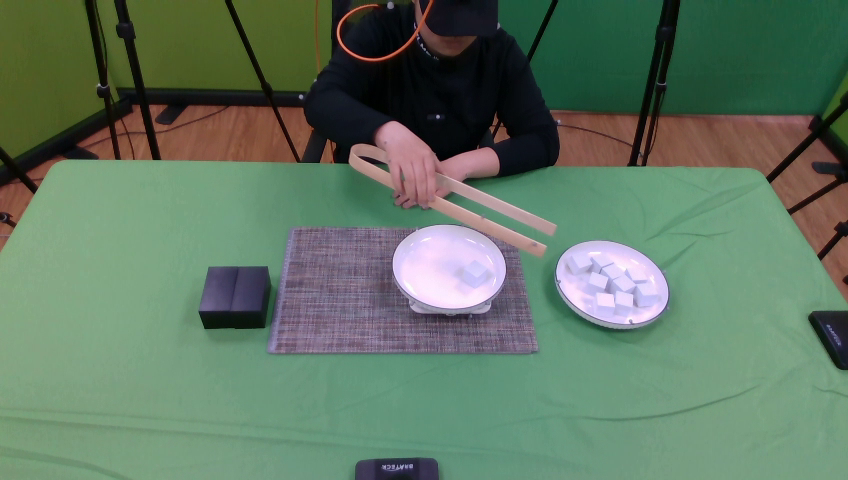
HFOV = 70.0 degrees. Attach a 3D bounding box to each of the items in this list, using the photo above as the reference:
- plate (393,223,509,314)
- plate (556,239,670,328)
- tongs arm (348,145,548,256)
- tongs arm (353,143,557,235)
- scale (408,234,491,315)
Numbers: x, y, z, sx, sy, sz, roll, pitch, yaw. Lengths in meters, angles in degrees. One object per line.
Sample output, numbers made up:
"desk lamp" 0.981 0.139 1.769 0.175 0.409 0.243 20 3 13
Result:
"plate" 0.048 0.053 1.091 0.208 0.039 0.206 1 46 -1
"plate" 0.347 0.083 1.130 0.209 0.038 0.208 2 47 -2
"tongs arm" 0.034 -0.071 1.039 0.384 0.026 0.050 24 38 9
"tongs arm" 0.051 -0.092 1.075 0.387 0.028 0.028 23 41 7
"scale" 0.045 0.055 1.135 0.149 0.032 0.199 1 46 -3
